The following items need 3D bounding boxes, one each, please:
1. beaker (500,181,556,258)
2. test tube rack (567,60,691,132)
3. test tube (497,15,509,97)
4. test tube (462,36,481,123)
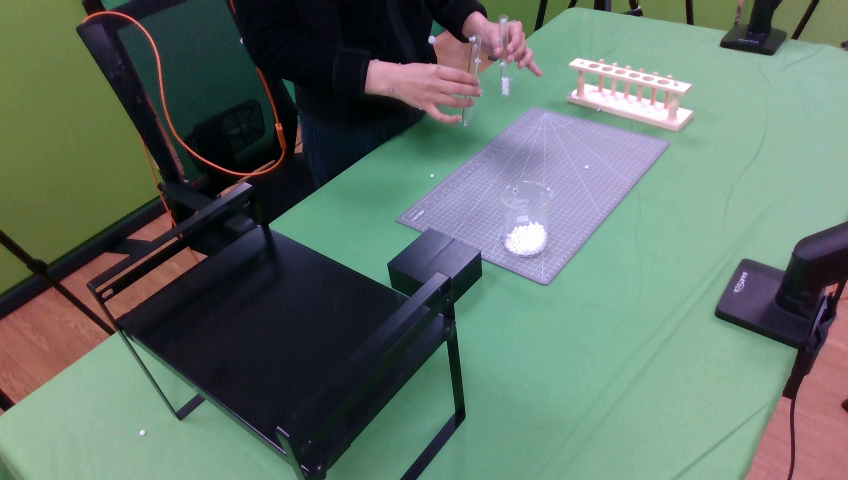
[{"bbox_3d":[0.159,-0.030,0.922,0.084,0.100,0.073,-13,41,-8],"label":"beaker"},{"bbox_3d":[0.411,-0.299,1.217,0.240,0.085,0.067,26,51,33],"label":"test tube rack"},{"bbox_3d":[0.140,-0.322,1.071,0.017,0.151,0.017,-5,41,5],"label":"test tube"},{"bbox_3d":[0.080,-0.270,1.027,0.017,0.150,0.017,4,35,-2],"label":"test tube"}]
